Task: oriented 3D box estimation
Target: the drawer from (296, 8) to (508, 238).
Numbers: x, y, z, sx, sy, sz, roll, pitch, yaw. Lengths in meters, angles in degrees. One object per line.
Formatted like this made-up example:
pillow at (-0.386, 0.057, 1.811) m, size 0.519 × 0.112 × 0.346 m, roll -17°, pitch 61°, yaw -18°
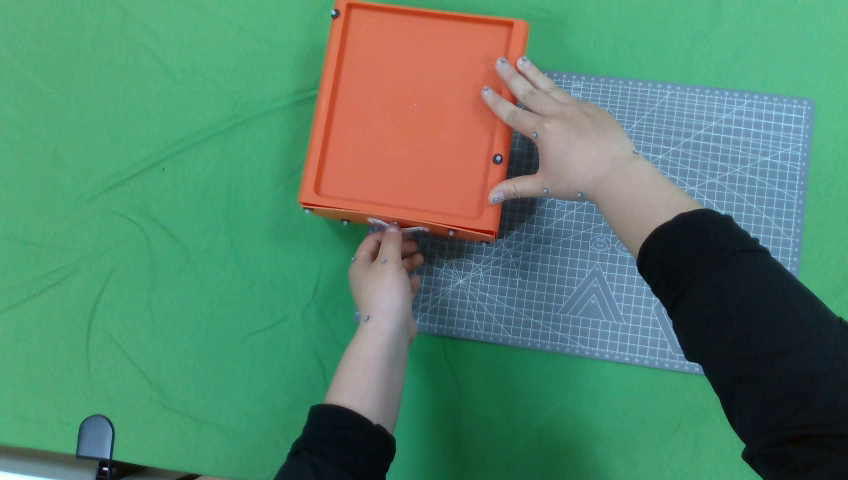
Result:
drawer at (-0.012, -0.117, 0.625) m, size 0.194 × 0.073 × 0.211 m, roll 8°, pitch 85°, yaw 6°

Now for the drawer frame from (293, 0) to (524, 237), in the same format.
drawer frame at (-0.013, -0.123, 0.625) m, size 0.201 × 0.083 × 0.213 m, roll 8°, pitch 85°, yaw 6°

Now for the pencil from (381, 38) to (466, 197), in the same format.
pencil at (0.000, -0.132, 0.650) m, size 0.012 × 0.012 × 0.193 m, roll -27°, pitch 86°, yaw 2°
